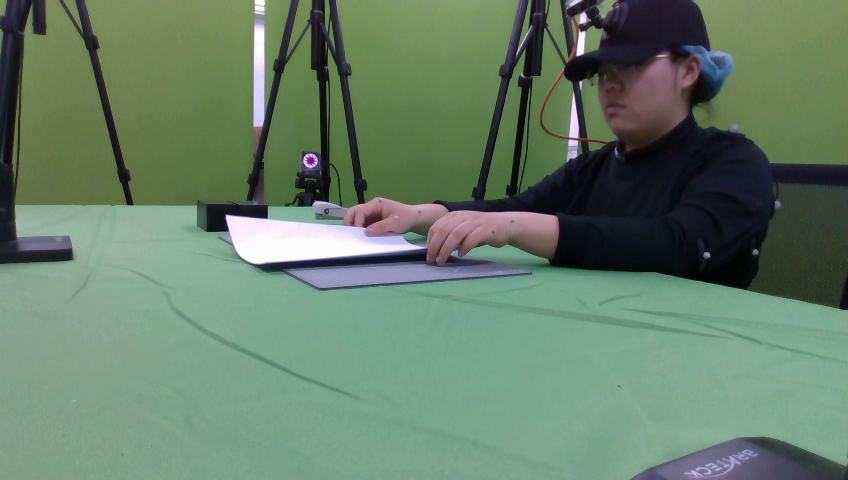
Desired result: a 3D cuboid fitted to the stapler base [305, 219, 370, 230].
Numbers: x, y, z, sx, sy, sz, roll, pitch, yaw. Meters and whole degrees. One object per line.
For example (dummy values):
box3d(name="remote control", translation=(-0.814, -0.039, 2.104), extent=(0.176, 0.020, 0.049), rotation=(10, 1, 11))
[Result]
box3d(name="stapler base", translation=(-0.173, -0.033, 1.215), extent=(0.131, 0.024, 0.041), rotation=(0, 10, -35))

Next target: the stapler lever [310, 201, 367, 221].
box3d(name="stapler lever", translation=(-0.170, -0.057, 1.213), extent=(0.119, 0.040, 0.026), rotation=(-1, 11, -34))
